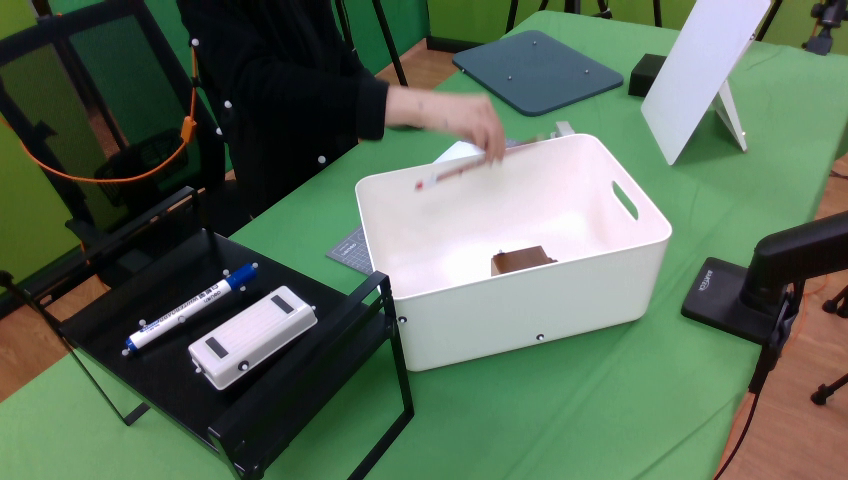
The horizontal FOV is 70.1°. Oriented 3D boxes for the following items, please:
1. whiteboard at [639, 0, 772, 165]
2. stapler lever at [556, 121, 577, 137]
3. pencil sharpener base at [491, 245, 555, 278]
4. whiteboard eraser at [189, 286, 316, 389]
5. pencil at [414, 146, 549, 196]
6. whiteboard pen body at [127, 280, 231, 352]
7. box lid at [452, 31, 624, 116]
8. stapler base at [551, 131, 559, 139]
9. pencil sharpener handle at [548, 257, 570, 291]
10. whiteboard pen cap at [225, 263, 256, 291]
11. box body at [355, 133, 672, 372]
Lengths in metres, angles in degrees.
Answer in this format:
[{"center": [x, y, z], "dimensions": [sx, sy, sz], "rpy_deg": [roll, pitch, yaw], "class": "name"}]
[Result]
[{"center": [0.543, -0.298, 1.076], "dimensions": [0.144, 0.305, 0.216], "rpy_deg": [12, 40, -7], "class": "whiteboard"}, {"center": [0.266, -0.198, 1.128], "dimensions": [0.027, 0.040, 0.117], "rpy_deg": [0, 38, 3], "class": "stapler lever"}, {"center": [0.134, 0.068, 0.800], "dimensions": [0.077, 0.107, 0.061], "rpy_deg": [-12, 42, -7], "class": "pencil sharpener base"}, {"center": [-0.166, 0.096, 0.593], "dimensions": [0.113, 0.042, 0.055], "rpy_deg": [-36, 47, -29], "class": "whiteboard eraser"}, {"center": [0.078, -0.095, 0.814], "dimensions": [0.194, 0.012, 0.012], "rpy_deg": [-20, 41, -3], "class": "pencil"}, {"center": [-0.248, 0.072, 0.645], "dimensions": [0.141, 0.017, 0.017], "rpy_deg": [-35, 47, -23], "class": "whiteboard pen body"}, {"center": [0.256, -0.401, 1.419], "dimensions": [0.264, 0.015, 0.368], "rpy_deg": [-22, 43, -17], "class": "box lid"}, {"center": [0.268, -0.178, 1.142], "dimensions": [0.041, 0.024, 0.130], "rpy_deg": [0, 37, 3], "class": "stapler base"}, {"center": [0.182, 0.045, 0.801], "dimensions": [0.031, 0.068, 0.035], "rpy_deg": [-12, 57, -7], "class": "pencil sharpener handle"}, {"center": [-0.204, 0.041, 0.668], "dimensions": [0.033, 0.018, 0.018], "rpy_deg": [-36, 48, -22], "class": "whiteboard pen cap"}, {"center": [0.108, 0.013, 0.834], "dimensions": [0.365, 0.161, 0.252], "rpy_deg": [-12, 41, -6], "class": "box body"}]
